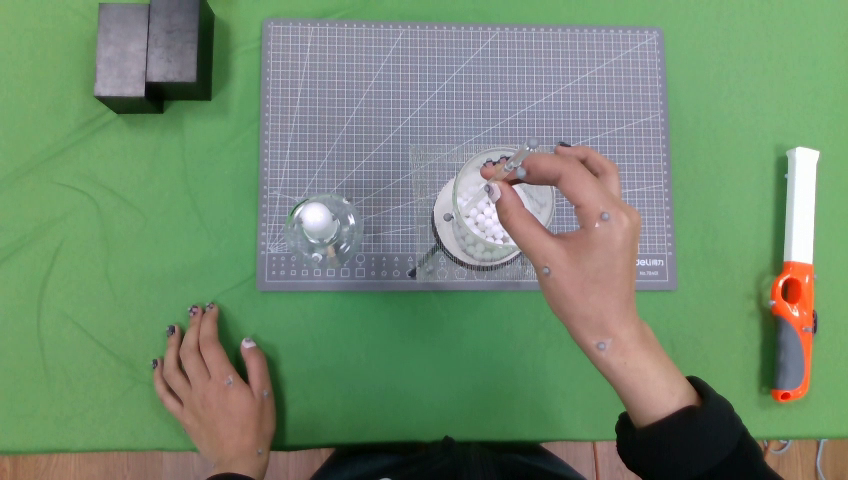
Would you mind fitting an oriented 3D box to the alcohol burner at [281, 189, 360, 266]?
[{"bbox_3d":[-0.102,-0.015,0.589,0.078,0.119,0.077,1,80,-3],"label":"alcohol burner"}]

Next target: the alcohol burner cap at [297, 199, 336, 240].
[{"bbox_3d":[-0.100,-0.020,0.554,0.034,0.048,0.033,0,78,-1],"label":"alcohol burner cap"}]

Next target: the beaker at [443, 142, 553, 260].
[{"bbox_3d":[0.054,-0.022,0.474,0.074,0.100,0.084,-32,84,-7],"label":"beaker"}]

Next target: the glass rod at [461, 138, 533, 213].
[{"bbox_3d":[0.044,-0.038,0.414,0.008,0.200,0.008,1,82,-6],"label":"glass rod"}]

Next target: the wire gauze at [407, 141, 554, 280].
[{"bbox_3d":[0.049,-0.026,0.523,0.125,0.011,0.121,-1,81,-1],"label":"wire gauze"}]

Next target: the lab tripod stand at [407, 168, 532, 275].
[{"bbox_3d":[0.045,-0.014,0.588,0.148,0.132,0.148,0,82,-1],"label":"lab tripod stand"}]

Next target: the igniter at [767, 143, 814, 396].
[{"bbox_3d":[0.400,0.031,0.659,0.057,0.025,0.275,9,83,-13],"label":"igniter"}]
